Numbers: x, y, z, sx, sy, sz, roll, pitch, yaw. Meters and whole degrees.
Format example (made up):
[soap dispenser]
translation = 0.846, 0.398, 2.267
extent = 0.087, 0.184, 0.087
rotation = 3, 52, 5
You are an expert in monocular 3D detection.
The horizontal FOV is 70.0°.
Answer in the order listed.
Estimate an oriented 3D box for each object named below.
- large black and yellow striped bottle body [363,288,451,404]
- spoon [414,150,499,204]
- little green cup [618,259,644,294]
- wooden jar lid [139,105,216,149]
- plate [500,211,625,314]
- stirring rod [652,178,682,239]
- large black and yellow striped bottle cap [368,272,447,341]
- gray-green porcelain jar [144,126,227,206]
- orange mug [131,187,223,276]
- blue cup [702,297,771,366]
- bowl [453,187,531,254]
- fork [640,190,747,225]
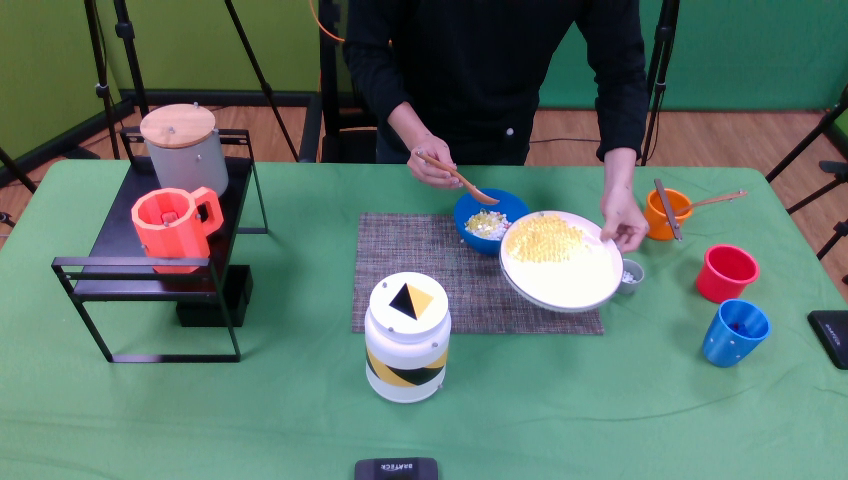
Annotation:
[large black and yellow striped bottle body]
translation = -0.027, 0.153, 0.935
extent = 0.131, 0.185, 0.130
rotation = 2, 46, -2
[spoon]
translation = 0.055, -0.104, 1.015
extent = 0.041, 0.195, 0.021
rotation = 14, 74, 55
[little green cup]
translation = 0.379, 0.070, 1.147
extent = 0.061, 0.039, 0.061
rotation = 3, 46, -3
[wooden jar lid]
translation = -0.372, -0.169, 0.920
extent = 0.108, 0.021, 0.107
rotation = 4, 44, -4
[plate]
translation = 0.230, 0.040, 1.021
extent = 0.209, 0.038, 0.208
rotation = 2, 51, -3
[stirring rod]
translation = 0.481, -0.065, 1.203
extent = 0.014, 0.006, 0.175
rotation = 2, 46, -1
[large black and yellow striped bottle cap]
translation = -0.023, 0.093, 0.875
extent = 0.115, 0.019, 0.114
rotation = 3, 46, -3
[gray-green porcelain jar]
translation = -0.375, -0.126, 0.967
extent = 0.106, 0.127, 0.105
rotation = 2, 46, -2
[orange mug]
translation = -0.354, -0.022, 0.888
extent = 0.083, 0.101, 0.126
rotation = 31, 55, 24
[blue cup]
translation = 0.519, 0.162, 1.025
extent = 0.093, 0.101, 0.092
rotation = 3, 45, -3
[bowl]
translation = 0.128, -0.026, 1.187
extent = 0.151, 0.077, 0.150
rotation = 2, 46, -2
[fork]
translation = 0.533, -0.064, 1.211
extent = 0.207, 0.019, 0.028
rotation = -22, 29, 38
